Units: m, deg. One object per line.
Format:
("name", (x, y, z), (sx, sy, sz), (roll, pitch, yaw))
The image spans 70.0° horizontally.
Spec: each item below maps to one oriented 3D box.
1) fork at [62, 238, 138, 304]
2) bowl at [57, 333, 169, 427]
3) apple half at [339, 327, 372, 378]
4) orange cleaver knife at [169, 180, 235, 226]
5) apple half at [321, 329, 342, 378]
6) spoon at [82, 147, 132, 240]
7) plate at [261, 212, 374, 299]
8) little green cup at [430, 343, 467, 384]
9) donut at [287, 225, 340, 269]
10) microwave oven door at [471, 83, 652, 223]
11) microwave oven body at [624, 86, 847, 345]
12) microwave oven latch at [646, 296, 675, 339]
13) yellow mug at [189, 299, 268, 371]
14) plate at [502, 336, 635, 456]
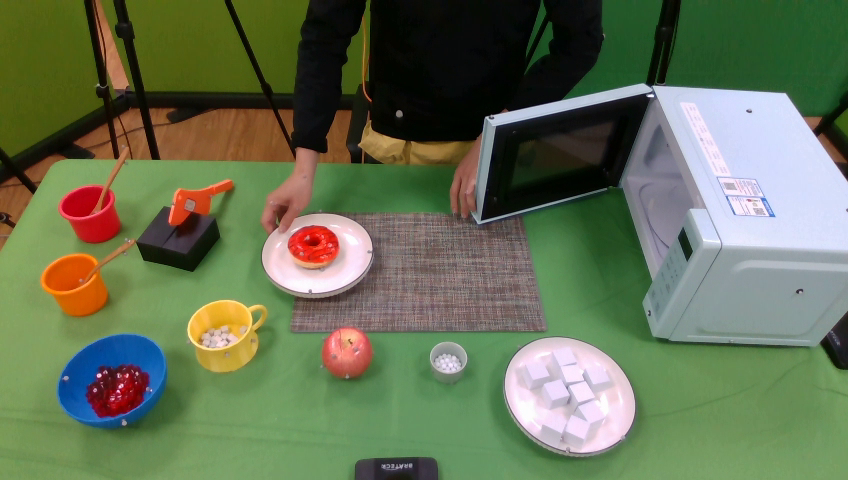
("fork", (-0.546, 0.053, 1.018), (0.207, 0.019, 0.028), (-36, 41, 23))
("bowl", (-0.456, 0.223, 0.912), (0.151, 0.077, 0.150), (3, 45, -2))
("apple half", (-0.111, 0.182, 0.980), (0.053, 0.075, 0.080), (-2, 42, -12))
("orange cleaver knife", (-0.436, -0.076, 1.199), (0.012, 0.077, 0.211), (17, 17, 9))
("apple half", (-0.149, 0.186, 0.972), (0.033, 0.081, 0.080), (-2, 46, -13))
("spoon", (-0.603, -0.089, 1.156), (0.041, 0.022, 0.193), (27, 95, 19))
("plate", (-0.198, 0.032, 1.137), (0.209, 0.038, 0.208), (2, 46, -2))
("little green cup", (0.039, 0.203, 0.994), (0.061, 0.039, 0.061), (2, 46, -2))
("donut", (-0.207, 0.013, 1.139), (0.099, 0.048, 0.098), (3, 45, -3))
("microwave oven door", (0.271, -0.173, 1.207), (0.356, 0.245, 0.039), (-15, 49, -18))
("microwave oven body", (0.567, -0.053, 1.118), (0.326, 0.261, 0.439), (2, 45, -1))
("microwave oven latch", (0.412, 0.134, 1.061), (0.030, 0.029, 0.078), (4, 45, 0))
("yellow mug", (-0.316, 0.148, 1.002), (0.131, 0.064, 0.099), (-33, 56, -31))
("plate", (0.225, 0.248, 0.963), (0.208, 0.039, 0.206), (2, 46, -2))
